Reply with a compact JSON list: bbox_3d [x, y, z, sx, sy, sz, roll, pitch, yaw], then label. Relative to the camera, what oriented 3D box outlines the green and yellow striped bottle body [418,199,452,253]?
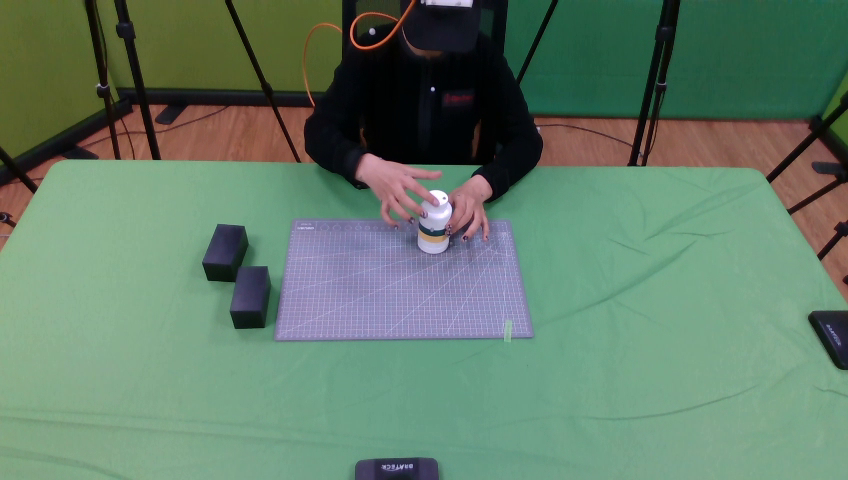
[{"bbox_3d":[0.021,-0.036,1.160,0.063,0.120,0.063,2,45,-2],"label":"green and yellow striped bottle body"}]

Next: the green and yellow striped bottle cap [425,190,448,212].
[{"bbox_3d":[0.023,-0.073,1.123,0.045,0.020,0.045,2,42,-1],"label":"green and yellow striped bottle cap"}]
